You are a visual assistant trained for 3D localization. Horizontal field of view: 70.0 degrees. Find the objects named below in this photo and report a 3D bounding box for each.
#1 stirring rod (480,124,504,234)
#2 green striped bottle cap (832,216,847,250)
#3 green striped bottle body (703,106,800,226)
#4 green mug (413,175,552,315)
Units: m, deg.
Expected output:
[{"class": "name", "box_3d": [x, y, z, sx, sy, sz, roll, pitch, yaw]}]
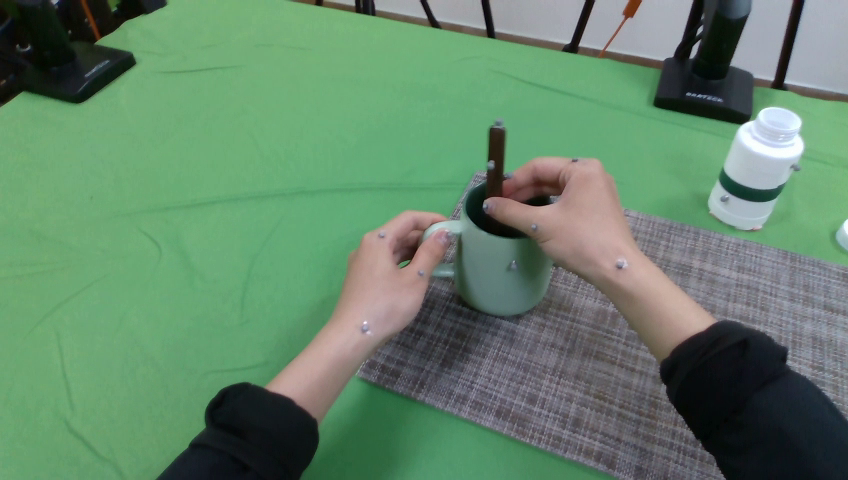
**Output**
[{"class": "stirring rod", "box_3d": [0.054, -0.022, 0.506, 0.014, 0.178, 0.006, 9, 46, 11]}, {"class": "green striped bottle cap", "box_3d": [0.447, -0.005, 0.622, 0.044, 0.020, 0.044, 1, 43, 0]}, {"class": "green striped bottle body", "box_3d": [0.336, -0.077, 0.619, 0.063, 0.120, 0.062, 0, 47, 0]}, {"class": "green mug", "box_3d": [0.053, 0.008, 0.547, 0.125, 0.106, 0.091, -6, 47, -5]}]
